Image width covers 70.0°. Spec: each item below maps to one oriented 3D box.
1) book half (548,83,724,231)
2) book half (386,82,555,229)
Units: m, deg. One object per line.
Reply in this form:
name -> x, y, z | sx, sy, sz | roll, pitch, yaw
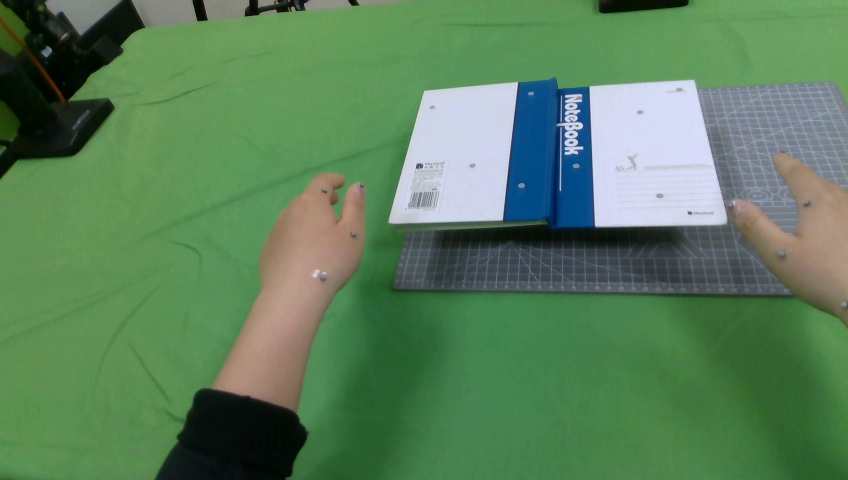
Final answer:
book half -> 0.193, -0.085, 0.577 | 0.143, 0.007, 0.208 | 0, 47, 13
book half -> 0.053, -0.088, 0.605 | 0.148, 0.016, 0.208 | -1, 48, 15
